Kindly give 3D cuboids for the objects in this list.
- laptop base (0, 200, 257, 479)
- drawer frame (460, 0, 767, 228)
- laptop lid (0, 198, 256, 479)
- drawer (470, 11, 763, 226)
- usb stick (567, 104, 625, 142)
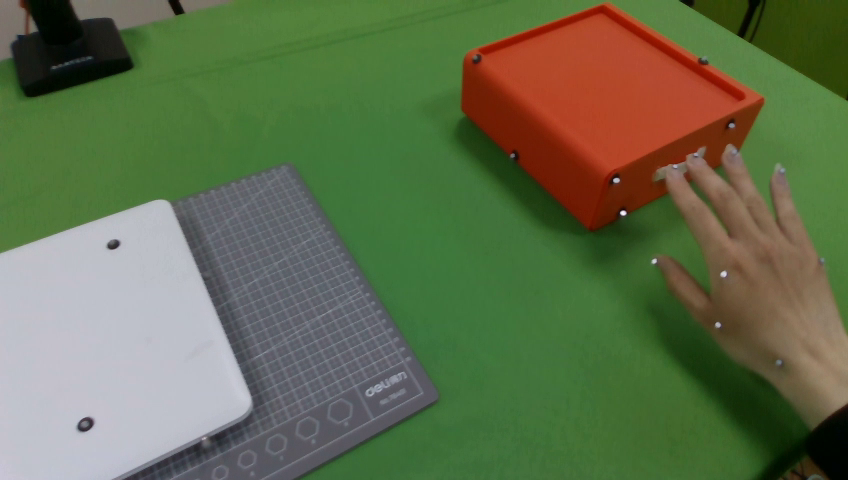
[{"bbox_3d":[-0.323,0.109,0.432,0.355,0.023,0.233,-24,57,-19],"label":"laptop base"},{"bbox_3d":[0.176,-0.135,0.603,0.202,0.083,0.211,-27,53,-20],"label":"drawer frame"},{"bbox_3d":[-0.322,0.104,0.422,0.357,0.013,0.239,-22,55,-18],"label":"laptop lid"},{"bbox_3d":[0.178,-0.134,0.603,0.195,0.074,0.209,-26,54,-20],"label":"drawer"},{"bbox_3d":[0.177,-0.120,0.615,0.059,0.027,0.021,-12,51,-10],"label":"usb stick"}]
